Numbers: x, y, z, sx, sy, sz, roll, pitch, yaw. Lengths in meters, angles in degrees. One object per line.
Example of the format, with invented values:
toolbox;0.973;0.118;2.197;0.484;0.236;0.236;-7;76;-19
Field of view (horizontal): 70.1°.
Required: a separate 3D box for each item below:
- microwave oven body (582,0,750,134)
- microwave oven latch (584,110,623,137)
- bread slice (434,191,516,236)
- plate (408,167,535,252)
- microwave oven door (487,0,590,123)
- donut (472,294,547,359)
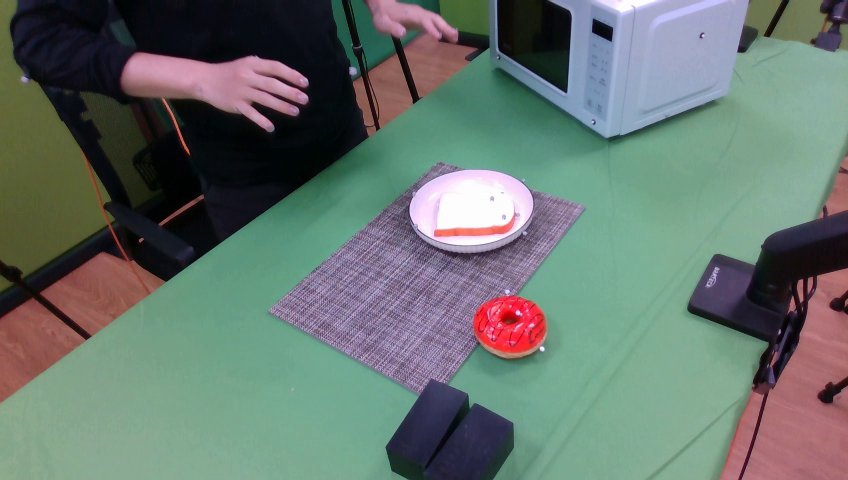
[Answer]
microwave oven body;0.382;-0.444;1.246;0.327;0.261;0.437;-22;42;-16
microwave oven latch;0.337;-0.222;1.142;0.030;0.029;0.078;-21;42;-14
bread slice;0.086;-0.046;0.996;0.131;0.019;0.104;-1;42;7
plate;0.078;-0.047;0.996;0.207;0.039;0.206;-4;41;4
microwave oven door;0.232;-0.420;1.231;0.039;0.245;0.352;-22;43;-16
donut;0.114;0.114;0.803;0.099;0.048;0.098;0;40;1
